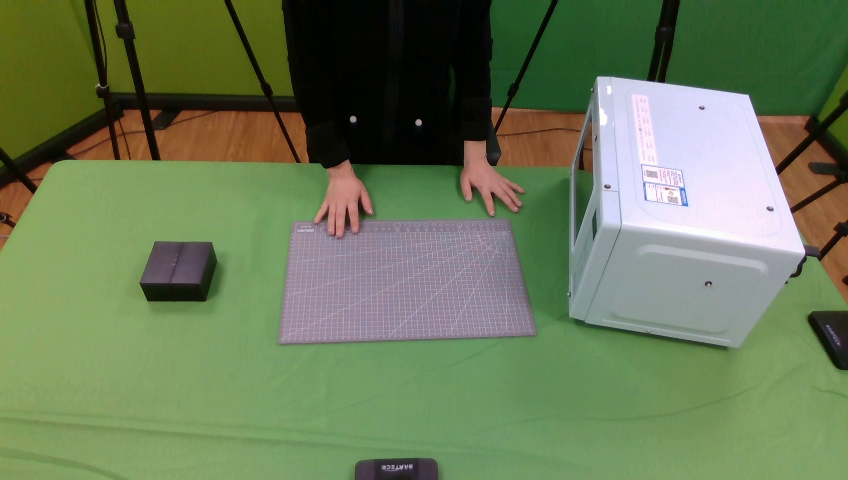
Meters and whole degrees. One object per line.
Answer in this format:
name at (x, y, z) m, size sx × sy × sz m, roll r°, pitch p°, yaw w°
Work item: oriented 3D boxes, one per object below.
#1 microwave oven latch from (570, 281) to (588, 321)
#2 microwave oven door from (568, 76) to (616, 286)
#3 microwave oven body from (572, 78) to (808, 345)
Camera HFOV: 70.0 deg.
microwave oven latch at (0.276, 0.105, 1.082) m, size 0.030 × 0.029 × 0.079 m, roll 9°, pitch 45°, yaw 6°
microwave oven door at (0.319, -0.119, 1.161) m, size 0.039 × 0.245 × 0.354 m, roll 9°, pitch 46°, yaw 5°
microwave oven body at (0.456, -0.063, 1.124) m, size 0.326 × 0.261 × 0.439 m, roll 8°, pitch 45°, yaw 5°
